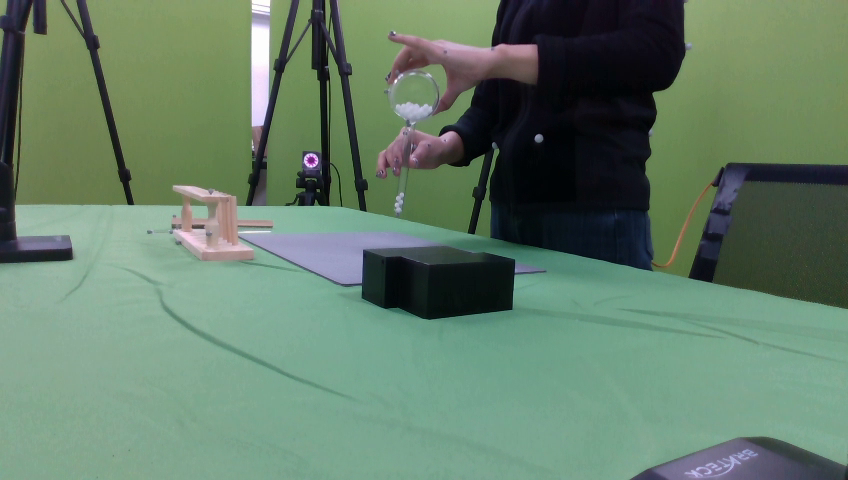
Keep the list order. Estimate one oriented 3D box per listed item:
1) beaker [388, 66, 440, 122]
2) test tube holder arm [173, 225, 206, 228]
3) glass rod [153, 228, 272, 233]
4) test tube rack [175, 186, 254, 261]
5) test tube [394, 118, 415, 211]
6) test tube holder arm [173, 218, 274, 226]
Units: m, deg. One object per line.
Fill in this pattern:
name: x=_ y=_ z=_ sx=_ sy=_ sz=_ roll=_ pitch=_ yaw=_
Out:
beaker: x=-0.016 y=-0.212 z=0.886 sx=0.074 sy=0.084 sz=0.100 roll=0 pitch=16 yaw=-5
test tube holder arm: x=-0.414 y=-0.030 z=1.113 sx=0.088 sy=0.015 sz=0.010 roll=-1 pitch=-21 yaw=-25
glass rod: x=-0.368 y=-0.017 z=1.065 sx=0.201 sy=0.008 sz=0.008 roll=-2 pitch=8 yaw=-27
test tube rack: x=-0.314 y=-0.031 z=0.889 sx=0.067 sy=0.085 sz=0.241 roll=-2 pitch=8 yaw=-30
test tube: x=-0.031 y=-0.118 z=0.961 sx=0.017 sy=0.150 sz=0.017 roll=8 pitch=18 yaw=-2
test tube holder arm: x=-0.371 y=-0.033 z=1.128 sx=0.179 sy=0.015 sz=0.013 roll=-1 pitch=-21 yaw=-25
